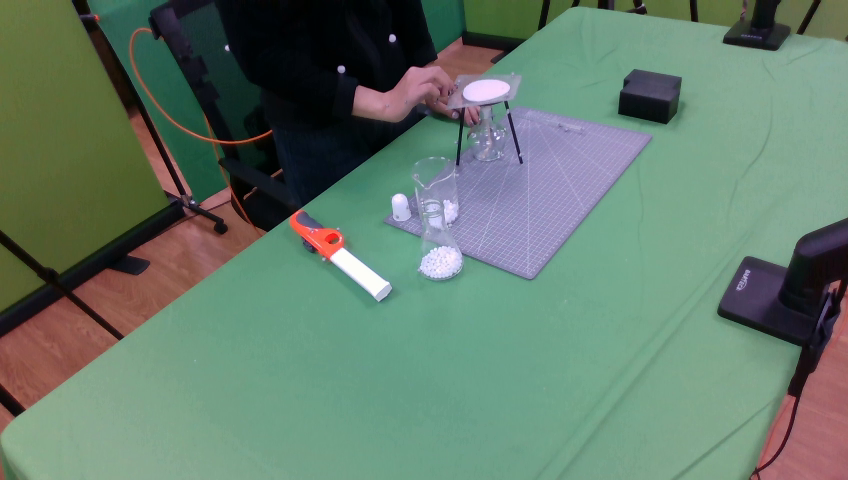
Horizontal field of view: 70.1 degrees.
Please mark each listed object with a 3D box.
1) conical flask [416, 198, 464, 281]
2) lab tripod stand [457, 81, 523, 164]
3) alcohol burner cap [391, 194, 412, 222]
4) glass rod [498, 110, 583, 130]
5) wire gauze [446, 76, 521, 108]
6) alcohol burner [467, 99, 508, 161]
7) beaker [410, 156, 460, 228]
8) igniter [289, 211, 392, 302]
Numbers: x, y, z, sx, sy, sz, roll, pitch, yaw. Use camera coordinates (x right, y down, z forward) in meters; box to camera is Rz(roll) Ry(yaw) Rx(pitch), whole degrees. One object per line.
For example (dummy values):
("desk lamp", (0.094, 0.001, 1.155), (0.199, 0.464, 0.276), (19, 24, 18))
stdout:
("conical flask", (0.019, -0.004, 0.907), (0.075, 0.122, 0.075), (-5, 40, 5))
("lab tripod stand", (0.120, -0.219, 1.130), (0.148, 0.132, 0.147), (-7, 39, 6))
("alcohol burner cap", (-0.041, -0.057, 1.040), (0.034, 0.048, 0.033), (-6, 40, 5))
("glass rod", (0.233, -0.245, 1.235), (0.198, 0.008, 0.008), (21, 49, 34))
("wire gauze", (0.109, -0.270, 1.085), (0.121, 0.011, 0.125), (1, 38, 15))
("alcohol burner", (0.119, -0.210, 1.134), (0.078, 0.119, 0.077), (-4, 39, 4))
("beaker", (0.020, -0.076, 1.006), (0.074, 0.101, 0.084), (3, 42, 15))
("igniter", (-0.146, 0.019, 0.986), (0.057, 0.025, 0.274), (-40, 48, -18))
